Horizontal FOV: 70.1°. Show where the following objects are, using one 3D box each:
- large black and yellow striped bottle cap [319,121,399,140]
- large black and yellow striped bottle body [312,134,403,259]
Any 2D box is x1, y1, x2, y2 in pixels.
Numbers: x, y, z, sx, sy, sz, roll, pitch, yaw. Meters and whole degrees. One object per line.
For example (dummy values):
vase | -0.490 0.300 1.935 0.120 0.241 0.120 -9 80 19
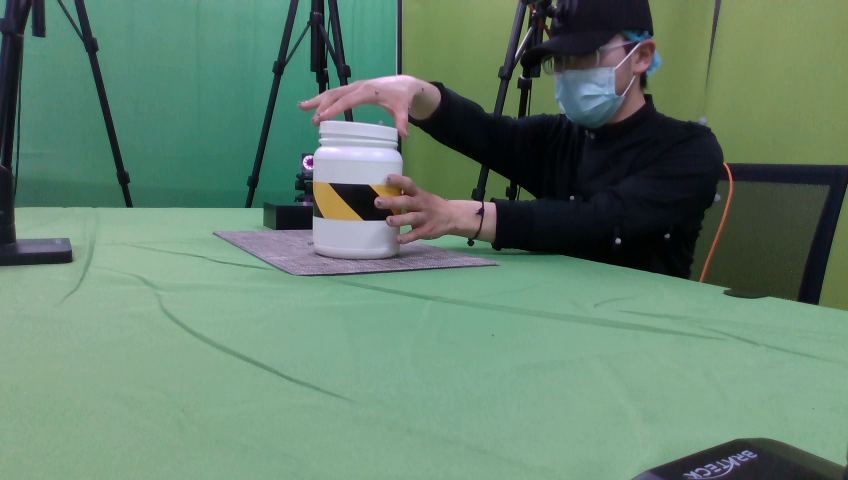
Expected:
large black and yellow striped bottle cap | -0.094 -0.157 0.873 0.115 0.019 0.115 3 6 0
large black and yellow striped bottle body | -0.097 -0.072 0.885 0.131 0.184 0.130 2 8 0
